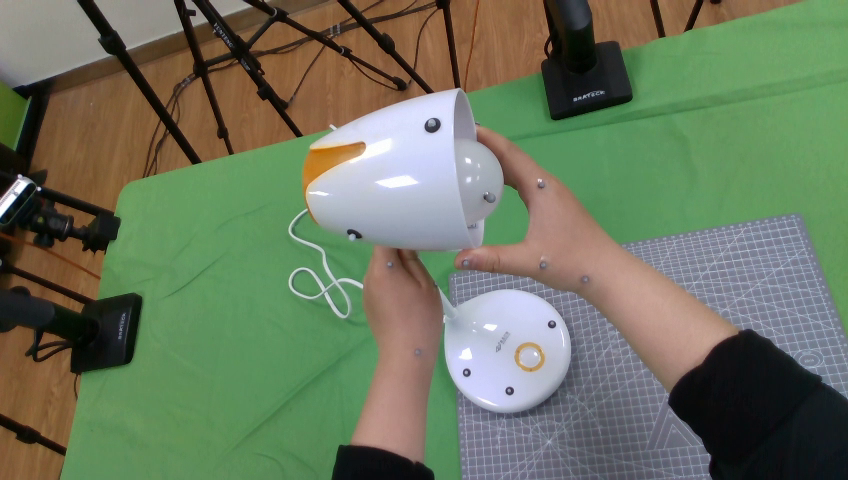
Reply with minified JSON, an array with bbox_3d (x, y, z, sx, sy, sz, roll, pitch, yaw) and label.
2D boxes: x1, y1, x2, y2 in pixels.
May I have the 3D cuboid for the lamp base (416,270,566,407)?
[{"bbox_3d":[0.064,0.095,0.710,0.178,0.182,0.160,14,70,28],"label":"lamp base"}]

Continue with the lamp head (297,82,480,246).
[{"bbox_3d":[-0.024,-0.045,0.430,0.122,0.113,0.111,-7,63,18],"label":"lamp head"}]

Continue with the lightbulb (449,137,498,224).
[{"bbox_3d":[-0.002,-0.036,0.419,0.107,0.060,0.059,-9,62,17],"label":"lightbulb"}]
